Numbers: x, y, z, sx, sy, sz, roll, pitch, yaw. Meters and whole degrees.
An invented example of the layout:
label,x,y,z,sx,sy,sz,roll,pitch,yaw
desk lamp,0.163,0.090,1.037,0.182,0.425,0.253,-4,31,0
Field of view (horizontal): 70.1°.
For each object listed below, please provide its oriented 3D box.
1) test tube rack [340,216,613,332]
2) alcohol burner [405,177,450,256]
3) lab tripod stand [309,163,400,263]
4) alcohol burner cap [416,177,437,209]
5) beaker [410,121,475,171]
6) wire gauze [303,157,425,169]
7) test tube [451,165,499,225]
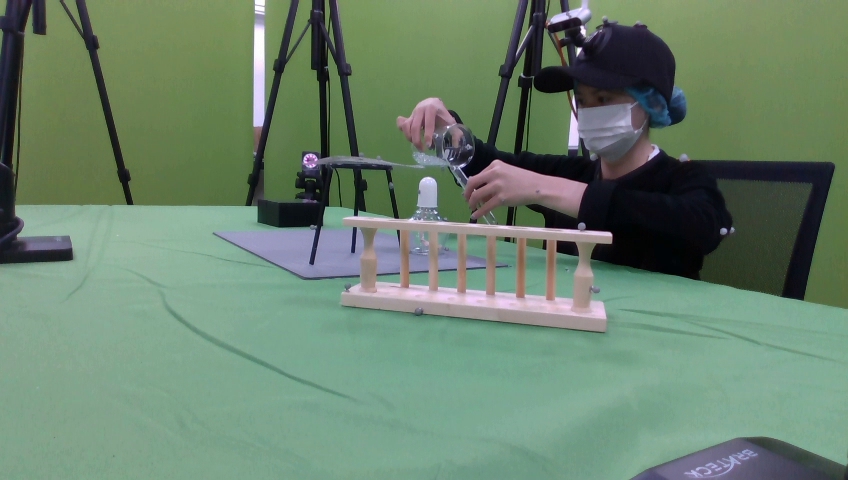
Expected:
label,x,y,z,sx,sy,sz,roll,pitch,yaw
test tube rack,0.048,0.026,0.568,0.242,0.085,0.067,4,7,13
alcohol burner,0.004,-0.036,0.917,0.078,0.119,0.078,4,6,0
lab tripod stand,-0.091,-0.037,0.813,0.148,0.131,0.148,1,6,0
alcohol burner cap,0.005,-0.072,0.914,0.034,0.048,0.034,3,10,0
beaker,0.030,-0.162,1.061,0.074,0.084,0.100,7,1,-38
wire gauze,-0.082,-0.102,0.799,0.126,0.011,0.121,-1,7,-30
test tube,0.082,-0.072,0.981,0.017,0.017,0.149,-2,44,-32
